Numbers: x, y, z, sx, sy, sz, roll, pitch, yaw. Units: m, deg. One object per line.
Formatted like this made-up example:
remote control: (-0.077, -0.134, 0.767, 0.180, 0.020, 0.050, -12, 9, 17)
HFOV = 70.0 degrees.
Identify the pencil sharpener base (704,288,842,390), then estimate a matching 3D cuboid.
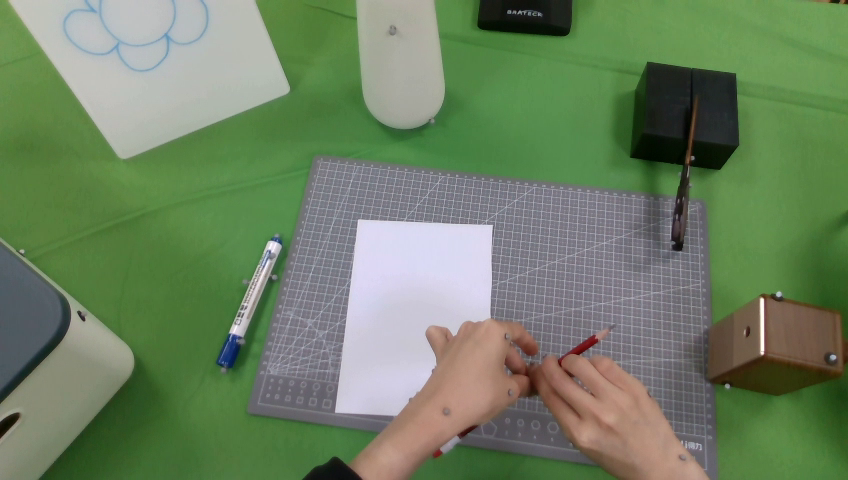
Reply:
pencil sharpener base: (0.319, 0.095, 0.560, 0.076, 0.108, 0.061, 12, 66, 3)

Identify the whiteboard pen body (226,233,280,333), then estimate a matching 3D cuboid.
whiteboard pen body: (-0.182, 0.054, 0.634, 0.017, 0.017, 0.140, 14, 65, 7)

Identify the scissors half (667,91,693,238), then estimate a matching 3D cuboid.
scissors half: (0.273, -0.084, 0.636, 0.013, 0.040, 0.174, 7, 68, 24)

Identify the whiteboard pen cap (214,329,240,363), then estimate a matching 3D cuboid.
whiteboard pen cap: (-0.196, 0.106, 0.610, 0.018, 0.018, 0.033, 13, 62, 7)

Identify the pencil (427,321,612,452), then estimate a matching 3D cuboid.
pencil: (0.081, 0.126, 0.521, 0.194, 0.012, 0.012, -37, 69, 7)

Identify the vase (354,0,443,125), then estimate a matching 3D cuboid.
vase: (-0.029, -0.214, 0.653, 0.098, 0.201, 0.097, -1, 65, 2)

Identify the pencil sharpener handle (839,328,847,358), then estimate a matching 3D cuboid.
pencil sharpener handle: (0.369, 0.101, 0.546, 0.030, 0.068, 0.035, 12, 61, 3)

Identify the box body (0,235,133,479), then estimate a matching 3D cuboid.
box body: (-0.490, 0.085, 0.547, 0.362, 0.161, 0.253, 33, 71, 14)

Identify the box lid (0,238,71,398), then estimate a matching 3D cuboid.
box lid: (-0.493, 0.053, 0.480, 0.369, 0.015, 0.262, 33, 70, 14)

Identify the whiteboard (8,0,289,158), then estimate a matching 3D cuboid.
whiteboard: (-0.316, -0.285, 0.663, 0.217, 0.308, 0.142, -25, 49, -9)

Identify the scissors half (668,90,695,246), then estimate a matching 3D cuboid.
scissors half: (0.281, -0.079, 0.654, 0.012, 0.040, 0.175, 7, 85, 29)

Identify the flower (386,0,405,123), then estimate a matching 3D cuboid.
flower: (-0.036, -0.262, 0.583, 0.044, 0.365, 0.038, 0, 48, 5)
